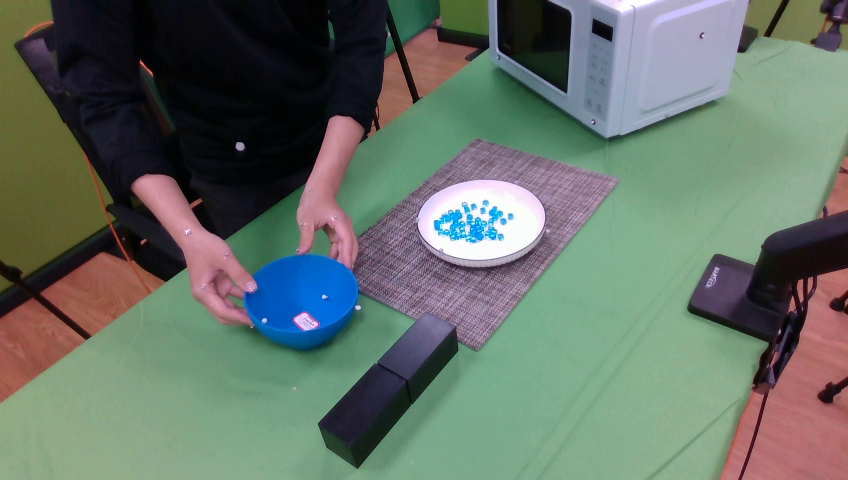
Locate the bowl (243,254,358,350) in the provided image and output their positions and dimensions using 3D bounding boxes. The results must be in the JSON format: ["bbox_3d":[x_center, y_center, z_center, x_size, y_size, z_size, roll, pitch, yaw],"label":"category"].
[{"bbox_3d":[-0.165,0.097,0.830,0.151,0.077,0.150,3,39,-2],"label":"bowl"}]

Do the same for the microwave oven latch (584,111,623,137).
[{"bbox_3d":[0.337,-0.222,1.142,0.030,0.029,0.078,-21,42,-14],"label":"microwave oven latch"}]

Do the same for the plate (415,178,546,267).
[{"bbox_3d":[0.091,-0.026,0.970,0.207,0.039,0.206,-4,41,4],"label":"plate"}]

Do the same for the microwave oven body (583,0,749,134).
[{"bbox_3d":[0.382,-0.444,1.246,0.327,0.261,0.437,-22,42,-16],"label":"microwave oven body"}]

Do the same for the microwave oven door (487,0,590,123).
[{"bbox_3d":[0.232,-0.420,1.230,0.039,0.245,0.352,-22,43,-16],"label":"microwave oven door"}]
